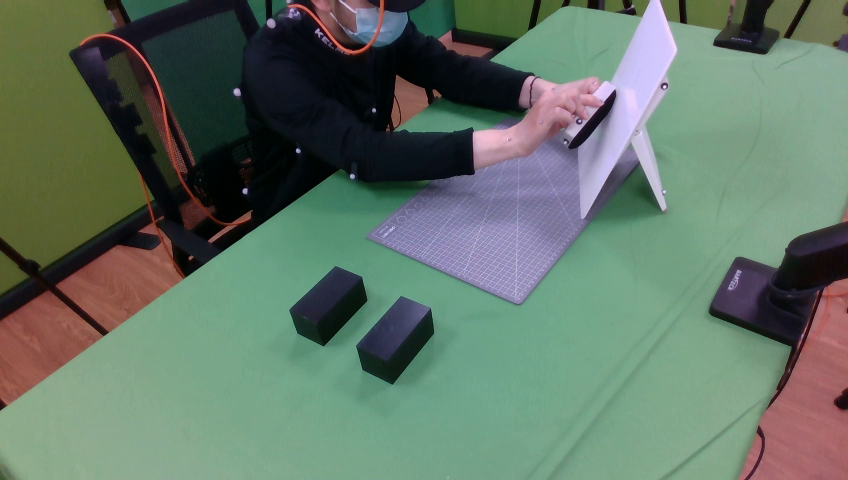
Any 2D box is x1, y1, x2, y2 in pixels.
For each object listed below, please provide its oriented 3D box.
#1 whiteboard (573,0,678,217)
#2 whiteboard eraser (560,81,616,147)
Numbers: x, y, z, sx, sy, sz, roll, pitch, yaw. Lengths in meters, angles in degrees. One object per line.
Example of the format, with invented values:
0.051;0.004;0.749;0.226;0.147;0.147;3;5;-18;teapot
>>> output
0.368;-0.189;0.964;0.144;0.305;0.216;18;42;-2;whiteboard
0.274;-0.205;0.998;0.042;0.056;0.112;38;85;8;whiteboard eraser
